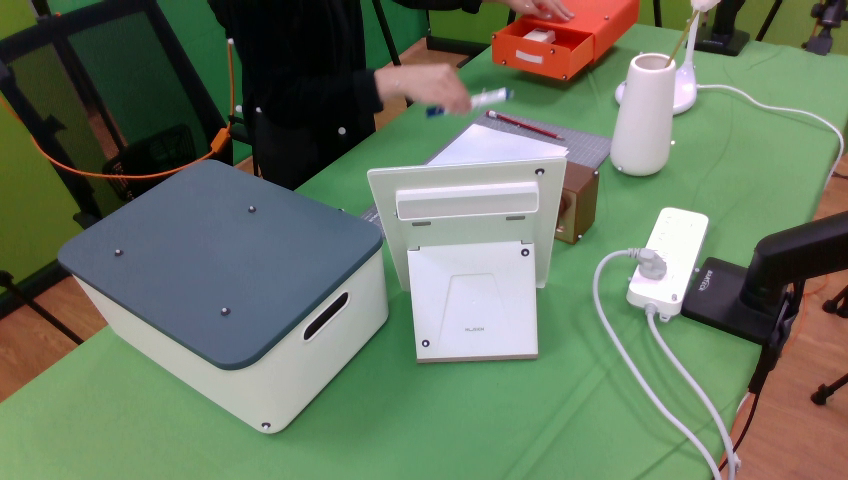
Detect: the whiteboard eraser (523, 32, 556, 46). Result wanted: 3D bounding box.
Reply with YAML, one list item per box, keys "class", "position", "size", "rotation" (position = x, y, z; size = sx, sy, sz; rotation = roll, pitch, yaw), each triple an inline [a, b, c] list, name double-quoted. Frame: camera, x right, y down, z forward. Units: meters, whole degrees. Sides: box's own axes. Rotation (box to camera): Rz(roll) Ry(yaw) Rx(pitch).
- class: "whiteboard eraser"
  position: [0.245, -0.433, 1.359]
  size: [0.055, 0.042, 0.113]
  rotation: [29, 45, 29]

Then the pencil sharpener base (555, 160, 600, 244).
- class: "pencil sharpener base"
  position: [0.228, -0.057, 0.945]
  size: [0.061, 0.107, 0.077]
  rotation: [24, 50, 31]

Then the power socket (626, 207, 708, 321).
- class: "power socket"
  position: [0.359, 0.025, 0.886]
  size: [0.072, 0.033, 0.227]
  rotation: [16, 46, 26]

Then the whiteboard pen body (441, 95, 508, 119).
- class: "whiteboard pen body"
  position: [0.074, -0.225, 1.034]
  size: [0.141, 0.017, 0.017]
  rotation: [-12, 40, 4]

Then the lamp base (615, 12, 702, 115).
- class: "lamp base"
  position: [0.484, -0.364, 1.211]
  size: [0.180, 0.181, 0.159]
  rotation: [-15, 41, -14]

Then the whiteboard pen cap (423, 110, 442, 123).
- class: "whiteboard pen cap"
  position: [0.016, -0.214, 1.039]
  size: [0.033, 0.018, 0.018]
  rotation: [-12, 40, 6]

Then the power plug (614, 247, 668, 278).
- class: "power plug"
  position: [0.306, 0.031, 0.851]
  size: [0.072, 0.053, 0.035]
  rotation: [24, 49, 33]

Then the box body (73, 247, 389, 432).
- class: "box body"
  position: [-0.255, 0.065, 0.827]
  size: [0.361, 0.161, 0.255]
  rotation: [21, 48, 29]

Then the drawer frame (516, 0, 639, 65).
- class: "drawer frame"
  position: [0.354, -0.506, 1.404]
  size: [0.200, 0.083, 0.214]
  rotation: [25, 55, 33]

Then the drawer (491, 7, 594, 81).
- class: "drawer"
  position: [0.288, -0.445, 1.346]
  size: [0.193, 0.073, 0.212]
  rotation: [24, 49, 32]

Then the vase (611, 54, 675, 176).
- class: "vase"
  position: [0.377, -0.209, 1.031]
  size: [0.098, 0.201, 0.097]
  rotation: [-3, 40, 3]

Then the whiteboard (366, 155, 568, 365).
- class: "whiteboard"
  position: [0.059, 0.049, 0.738]
  size: [0.217, 0.307, 0.143]
  rotation: [-3, 60, 5]

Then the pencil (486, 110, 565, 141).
- class: "pencil"
  position: [0.203, -0.232, 1.226]
  size: [0.192, 0.012, 0.012]
  rotation: [29, 52, 33]

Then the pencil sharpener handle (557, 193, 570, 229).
- class: "pencil sharpener handle"
  position: [0.195, -0.038, 0.908]
  size: [0.035, 0.068, 0.031]
  rotation: [24, 50, 30]

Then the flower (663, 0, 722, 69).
- class: "flower"
  position: [0.379, -0.261, 0.965]
  size: [0.044, 0.362, 0.038]
  rotation: [21, 53, 5]

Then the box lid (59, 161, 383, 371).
- class: "box lid"
  position: [-0.262, 0.010, 0.777]
  size: [0.369, 0.015, 0.264]
  rotation: [21, 48, 29]
